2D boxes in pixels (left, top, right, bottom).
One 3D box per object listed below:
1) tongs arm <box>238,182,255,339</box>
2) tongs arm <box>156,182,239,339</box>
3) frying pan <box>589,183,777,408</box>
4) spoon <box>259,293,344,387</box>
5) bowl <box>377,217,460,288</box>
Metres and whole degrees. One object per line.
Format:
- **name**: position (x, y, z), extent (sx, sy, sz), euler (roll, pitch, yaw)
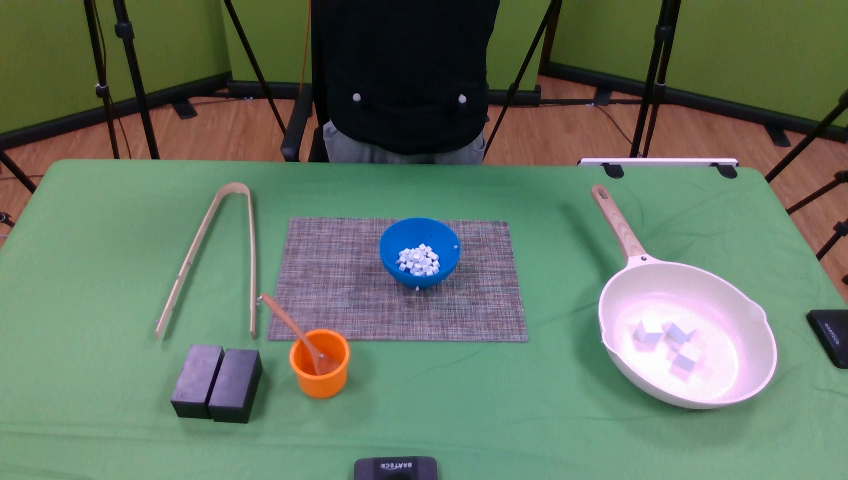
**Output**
- **tongs arm**: position (-0.334, 0.024, 1.145), extent (0.028, 0.028, 0.385), euler (-9, 48, -9)
- **tongs arm**: position (-0.415, 0.022, 1.134), extent (0.051, 0.026, 0.382), euler (3, 45, -3)
- **frying pan**: position (0.412, 0.079, 1.096), extent (0.307, 0.103, 0.484), euler (-8, 56, -13)
- **spoon**: position (-0.191, 0.155, 0.947), extent (0.021, 0.194, 0.041), euler (-12, 28, 51)
- **bowl**: position (-0.012, 0.036, 1.118), extent (0.151, 0.077, 0.150), euler (2, 46, -2)
